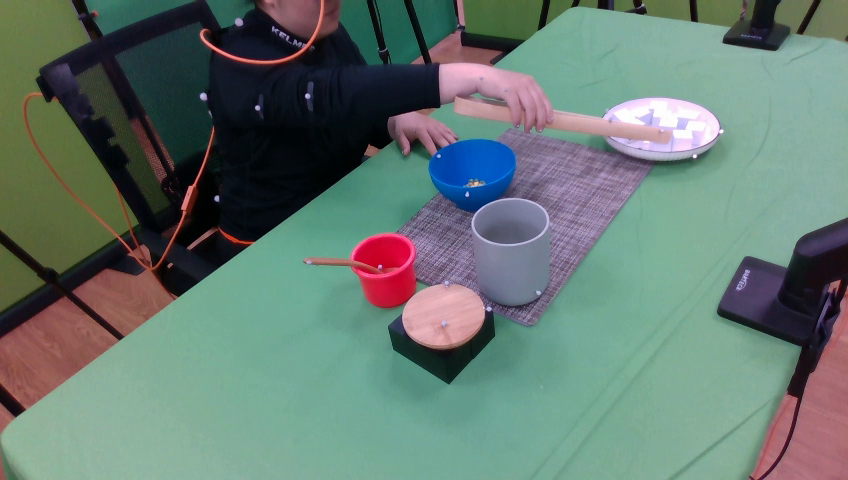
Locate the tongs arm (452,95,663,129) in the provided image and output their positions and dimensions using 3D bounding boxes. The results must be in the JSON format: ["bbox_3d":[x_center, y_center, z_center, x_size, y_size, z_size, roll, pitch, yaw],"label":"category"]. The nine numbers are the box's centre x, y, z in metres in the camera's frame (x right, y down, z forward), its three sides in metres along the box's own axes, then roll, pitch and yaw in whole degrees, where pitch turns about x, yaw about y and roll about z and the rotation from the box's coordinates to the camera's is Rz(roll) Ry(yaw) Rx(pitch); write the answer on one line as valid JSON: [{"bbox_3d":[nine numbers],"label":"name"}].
[{"bbox_3d":[0.239,-0.216,1.067,0.389,0.028,0.028,7,26,-7],"label":"tongs arm"}]

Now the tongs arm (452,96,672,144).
[{"bbox_3d":[0.241,-0.207,1.045,0.386,0.026,0.050,5,23,-11],"label":"tongs arm"}]

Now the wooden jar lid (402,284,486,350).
[{"bbox_3d":[0.027,0.101,0.786,0.108,0.021,0.108,-5,39,4],"label":"wooden jar lid"}]

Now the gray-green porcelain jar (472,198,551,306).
[{"bbox_3d":[0.125,0.021,0.850,0.106,0.127,0.105,-6,40,5],"label":"gray-green porcelain jar"}]

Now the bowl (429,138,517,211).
[{"bbox_3d":[0.087,-0.104,1.043,0.151,0.077,0.150,-5,40,5],"label":"bowl"}]

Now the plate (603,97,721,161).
[{"bbox_3d":[0.437,-0.203,1.126,0.209,0.038,0.208,-5,39,4],"label":"plate"}]

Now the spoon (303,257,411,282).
[{"bbox_3d":[-0.092,0.038,0.865,0.195,0.021,0.041,16,16,-46],"label":"spoon"}]
